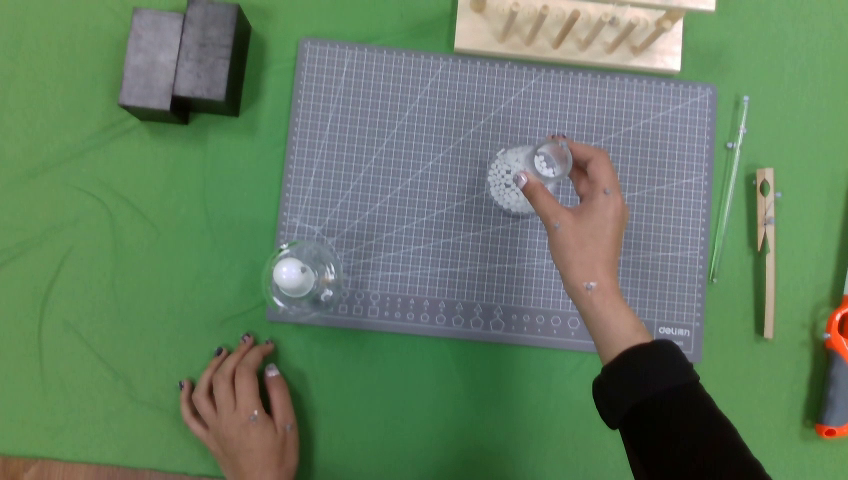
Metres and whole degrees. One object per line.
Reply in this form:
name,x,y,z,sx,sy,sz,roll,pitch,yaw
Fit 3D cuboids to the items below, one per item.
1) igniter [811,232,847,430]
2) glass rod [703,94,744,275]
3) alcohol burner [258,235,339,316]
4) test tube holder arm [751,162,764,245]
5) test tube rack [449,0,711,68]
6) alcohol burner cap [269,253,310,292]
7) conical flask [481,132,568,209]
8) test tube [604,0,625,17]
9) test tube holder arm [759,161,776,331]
igniter,0.447,0.063,0.633,0.057,0.025,0.276,14,85,-11
glass rod,0.319,-0.060,0.646,0.008,0.008,0.199,12,87,-2
alcohol burner,-0.120,0.032,0.563,0.078,0.119,0.077,0,84,-1
test tube holder arm,0.354,-0.038,0.643,0.010,0.015,0.087,-3,85,34
test tube rack,0.152,-0.233,0.614,0.242,0.085,0.066,5,85,-2
alcohol burner cap,-0.119,0.026,0.527,0.034,0.048,0.033,1,76,-3
conical flask,0.101,-0.071,0.576,0.075,0.122,0.075,0,88,-5
test tube,0.195,-0.252,0.568,0.017,0.150,0.017,0,82,1
test tube holder arm,0.360,0.006,0.636,0.013,0.015,0.178,-5,84,34
